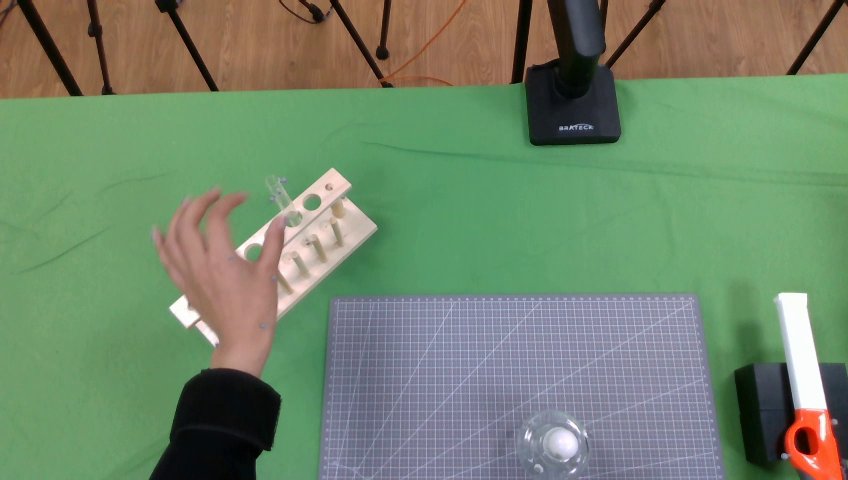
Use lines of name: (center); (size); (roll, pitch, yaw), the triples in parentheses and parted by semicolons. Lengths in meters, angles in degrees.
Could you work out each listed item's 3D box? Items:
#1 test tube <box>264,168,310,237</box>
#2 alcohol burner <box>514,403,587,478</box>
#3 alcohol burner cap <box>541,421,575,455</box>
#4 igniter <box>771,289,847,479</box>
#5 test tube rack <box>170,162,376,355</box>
test tube: (-0.154, -0.039, 0.694); (0.017, 0.151, 0.017); (-1, 66, 3)
alcohol burner: (0.135, 0.208, 0.633); (0.078, 0.120, 0.077); (0, 68, 0)
alcohol burner cap: (0.134, 0.195, 0.599); (0.034, 0.048, 0.033); (-2, 72, 6)
igniter: (0.401, 0.184, 0.633); (0.057, 0.025, 0.274); (2, 68, 5)
test tube rack: (-0.171, 0.023, 0.725); (0.242, 0.086, 0.066); (-43, 73, -13)
